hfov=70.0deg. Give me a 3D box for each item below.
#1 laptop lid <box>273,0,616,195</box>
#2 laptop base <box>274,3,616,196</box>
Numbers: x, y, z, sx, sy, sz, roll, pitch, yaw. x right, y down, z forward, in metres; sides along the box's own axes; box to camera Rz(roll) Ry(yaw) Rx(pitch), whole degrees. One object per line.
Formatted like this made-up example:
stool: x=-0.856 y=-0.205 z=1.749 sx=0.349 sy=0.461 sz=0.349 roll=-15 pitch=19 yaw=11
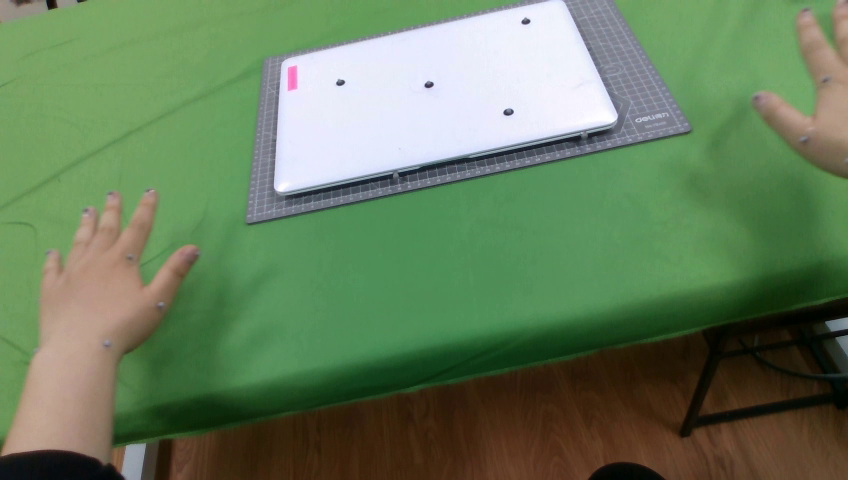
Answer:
laptop lid: x=0.006 y=-0.168 z=0.670 sx=0.356 sy=0.013 sz=0.239 roll=-10 pitch=51 yaw=5
laptop base: x=0.008 y=-0.162 z=0.681 sx=0.354 sy=0.023 sz=0.233 roll=-11 pitch=53 yaw=3
